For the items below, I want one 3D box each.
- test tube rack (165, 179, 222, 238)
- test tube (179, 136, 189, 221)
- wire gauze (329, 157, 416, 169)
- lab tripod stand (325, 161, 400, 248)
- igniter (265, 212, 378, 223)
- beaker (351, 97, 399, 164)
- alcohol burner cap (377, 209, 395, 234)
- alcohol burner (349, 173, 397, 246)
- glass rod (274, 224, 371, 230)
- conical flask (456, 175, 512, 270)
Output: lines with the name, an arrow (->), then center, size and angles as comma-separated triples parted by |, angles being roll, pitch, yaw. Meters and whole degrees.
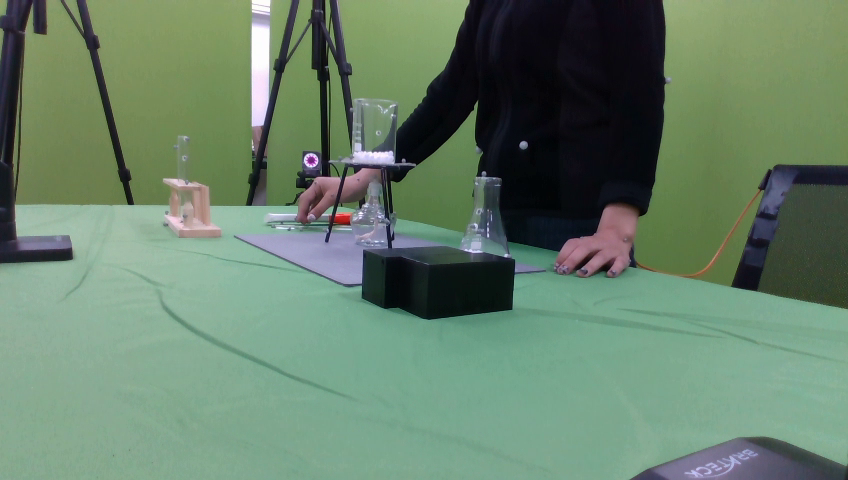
test tube rack -> -0.423, -0.062, 1.098 | 0.067, 0.085, 0.241 | -2, 9, -28
test tube -> -0.425, -0.108, 1.070 | 0.017, 0.150, 0.017 | 4, 9, 0
wire gauze -> -0.079, -0.125, 0.972 | 0.121, 0.011, 0.125 | 6, 6, 5
lab tripod stand -> -0.083, -0.059, 0.977 | 0.148, 0.131, 0.148 | 4, 8, 0
igniter -> -0.195, -0.048, 1.285 | 0.278, 0.025, 0.057 | -2, -2, -30
beaker -> -0.078, -0.172, 0.963 | 0.074, 0.100, 0.084 | 6, 8, 18
alcohol burner cap -> -0.074, -0.035, 1.144 | 0.034, 0.048, 0.034 | -7, 2, 1
alcohol burner -> -0.081, -0.050, 0.982 | 0.078, 0.119, 0.078 | 4, 8, 0
glass rod -> -0.193, -0.024, 1.176 | 0.201, 0.008, 0.008 | 1, 7, -31
conical flask -> 0.082, -0.025, 0.801 | 0.075, 0.122, 0.075 | 2, 7, 0
